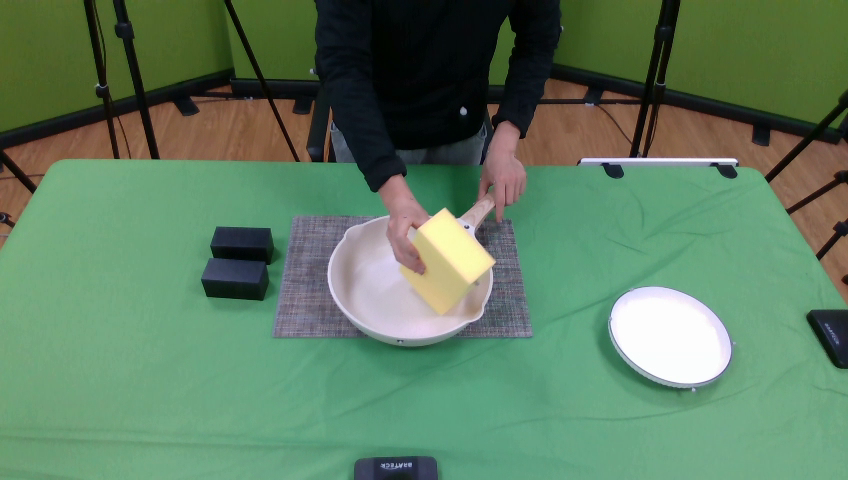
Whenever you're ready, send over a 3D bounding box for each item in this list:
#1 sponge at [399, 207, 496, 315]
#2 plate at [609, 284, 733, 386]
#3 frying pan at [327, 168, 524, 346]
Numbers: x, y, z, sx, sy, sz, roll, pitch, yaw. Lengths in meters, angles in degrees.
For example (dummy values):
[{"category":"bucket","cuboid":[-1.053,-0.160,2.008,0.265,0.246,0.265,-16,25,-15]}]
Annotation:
[{"category":"sponge","cuboid":[0.032,0.043,1.010,0.061,0.207,0.118,-40,82,-22]},{"category":"plate","cuboid":[0.425,0.167,1.059,0.208,0.039,0.206,2,46,-2]},{"category":"frying pan","cuboid":[0.042,0.009,1.132,0.305,0.103,0.487,34,61,24]}]
